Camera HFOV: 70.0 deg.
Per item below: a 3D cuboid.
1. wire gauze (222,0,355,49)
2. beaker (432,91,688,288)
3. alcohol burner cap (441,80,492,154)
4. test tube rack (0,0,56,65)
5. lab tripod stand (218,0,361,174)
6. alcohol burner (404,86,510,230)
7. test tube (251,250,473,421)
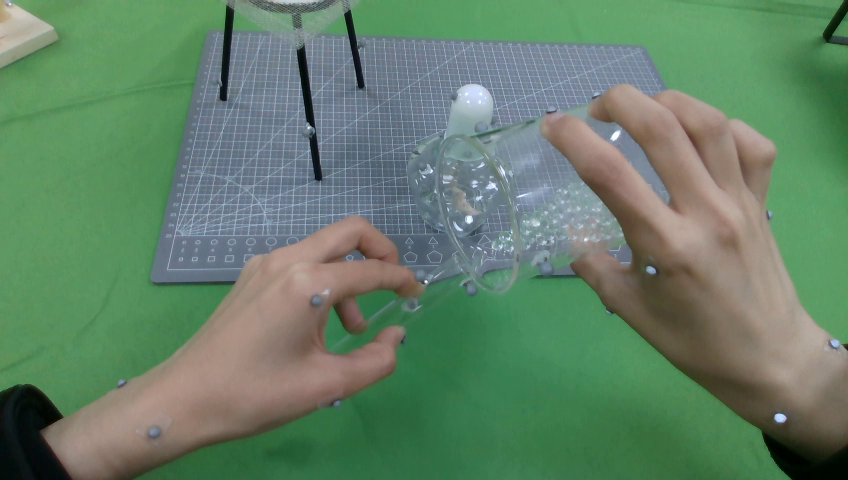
[{"bbox_3d":[-0.095,-0.188,0.418,0.124,0.011,0.121,31,56,15],"label":"wire gauze"},{"bbox_3d":[0.065,-0.025,0.289,0.100,0.084,0.073,-18,59,-19],"label":"beaker"},{"bbox_3d":[0.030,-0.084,0.405,0.034,0.048,0.033,2,56,-3],"label":"alcohol burner cap"},{"bbox_3d":[-0.429,-0.154,0.469,0.066,0.086,0.241,31,54,16],"label":"test tube rack"},{"bbox_3d":[-0.100,-0.147,0.471,0.148,0.132,0.147,5,52,-6],"label":"lab tripod stand"},{"bbox_3d":[0.026,-0.063,0.434,0.078,0.120,0.077,5,51,-5],"label":"alcohol burner"},{"bbox_3d":[-0.037,0.054,0.322,0.150,0.017,0.017,-37,56,14],"label":"test tube"}]
